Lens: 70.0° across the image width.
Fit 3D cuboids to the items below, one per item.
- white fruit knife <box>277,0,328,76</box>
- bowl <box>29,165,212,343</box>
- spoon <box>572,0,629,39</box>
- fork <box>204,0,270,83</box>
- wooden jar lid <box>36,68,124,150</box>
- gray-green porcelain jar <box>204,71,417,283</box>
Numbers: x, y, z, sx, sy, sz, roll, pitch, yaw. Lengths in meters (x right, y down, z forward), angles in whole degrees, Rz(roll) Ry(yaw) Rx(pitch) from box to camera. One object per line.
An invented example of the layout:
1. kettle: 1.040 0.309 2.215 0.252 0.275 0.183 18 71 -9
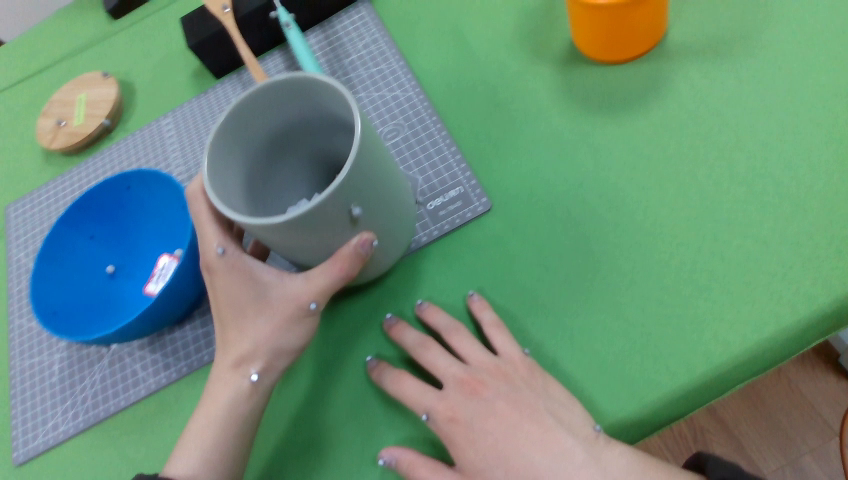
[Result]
1. white fruit knife: -0.132 -0.216 0.587 0.016 0.027 0.206 -29 72 2
2. bowl: -0.231 0.022 0.499 0.151 0.077 0.150 -8 62 16
3. spoon: 0.176 -0.228 0.446 0.022 0.194 0.041 2 55 -30
4. fork: -0.177 -0.194 0.590 0.028 0.019 0.206 -30 76 -3
5. wooden jar lid: -0.380 -0.144 0.675 0.108 0.021 0.107 -7 62 14
6. gray-green porcelain jar: -0.068 -0.034 0.415 0.105 0.128 0.105 -7 65 16
